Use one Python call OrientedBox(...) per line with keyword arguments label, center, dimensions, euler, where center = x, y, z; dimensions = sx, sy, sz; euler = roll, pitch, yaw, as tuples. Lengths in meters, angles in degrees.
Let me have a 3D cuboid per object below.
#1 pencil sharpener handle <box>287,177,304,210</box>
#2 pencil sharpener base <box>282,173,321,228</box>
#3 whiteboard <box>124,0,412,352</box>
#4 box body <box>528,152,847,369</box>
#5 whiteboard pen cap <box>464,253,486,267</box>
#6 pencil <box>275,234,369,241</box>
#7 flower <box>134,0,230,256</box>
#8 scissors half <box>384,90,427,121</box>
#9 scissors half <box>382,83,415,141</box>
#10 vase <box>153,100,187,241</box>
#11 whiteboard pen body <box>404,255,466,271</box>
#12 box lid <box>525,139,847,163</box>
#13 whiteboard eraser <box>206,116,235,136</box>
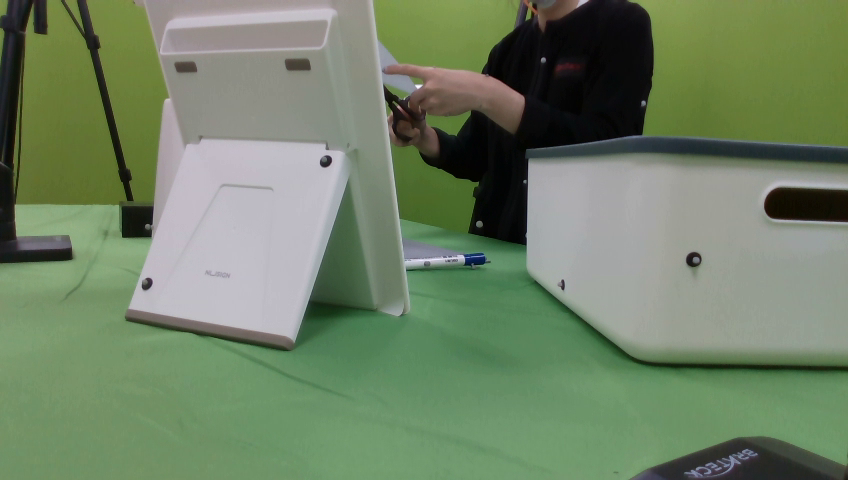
OrientedBox(label="pencil sharpener handle", center=(-0.269, -0.096, 1.257), dimensions=(0.036, 0.067, 0.030), euler=(-8, 8, -27))
OrientedBox(label="pencil sharpener base", center=(-0.247, -0.080, 1.212), dimensions=(0.061, 0.107, 0.076), euler=(-2, 5, -28))
OrientedBox(label="whiteboard", center=(-0.151, -0.049, 0.472), dimensions=(0.216, 0.305, 0.144), euler=(6, 27, 24))
OrientedBox(label="box body", center=(0.257, -0.005, 0.591), dimensions=(0.254, 0.160, 0.363), euler=(2, 7, -4))
OrientedBox(label="whiteboard pen cap", center=(0.066, 0.027, 0.818), dimensions=(0.033, 0.018, 0.018), euler=(-5, 10, -24))
OrientedBox(label="pencil", center=(-0.169, -0.006, 1.036), dimensions=(0.195, 0.012, 0.012), euler=(-2, 9, -45))
OrientedBox(label="flower", center=(-0.282, -0.147, 0.713), dimensions=(0.038, 0.362, 0.044), euler=(-23, 24, -31))
OrientedBox(label="scissors half", center=(-0.051, -0.256, 1.064), dimensions=(0.013, 0.040, 0.176), euler=(20, 0, 41))
OrientedBox(label="scissors half", center=(-0.062, -0.237, 1.061), dimensions=(0.012, 0.040, 0.176), euler=(26, -21, 42))
OrientedBox(label="vase", center=(-0.278, -0.066, 0.736), dimensions=(0.098, 0.200, 0.098), euler=(2, 9, 0))
OrientedBox(label="whiteboard pen body", center=(0.012, 0.030, 0.792), dimensions=(0.141, 0.017, 0.017), euler=(-3, 9, -24))
OrientedBox(label="box lid", center=(0.261, -0.078, 0.580), dimensions=(0.264, 0.015, 0.371), euler=(2, 7, -4))
OrientedBox(label="whiteboard eraser", center=(-0.450, -0.252, 1.335), dimensions=(0.056, 0.042, 0.112), euler=(1, 7, -22))
